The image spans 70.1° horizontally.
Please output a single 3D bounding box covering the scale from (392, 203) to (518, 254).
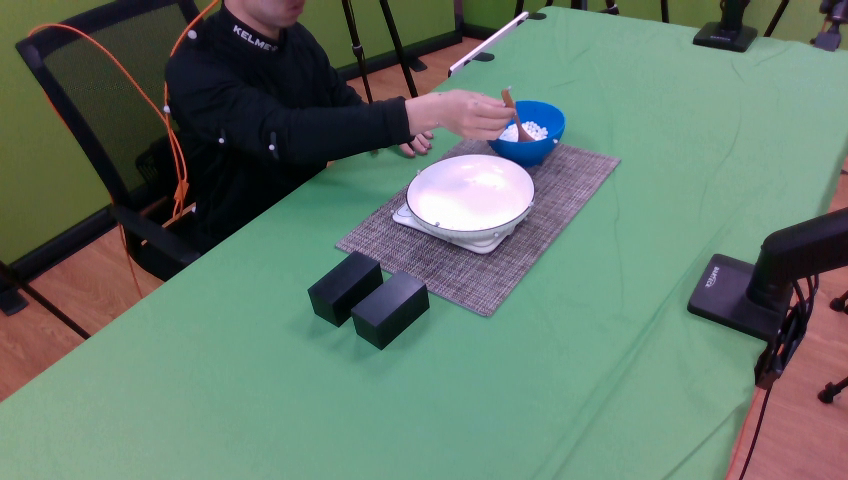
[{"bbox_3d":[0.060,-0.050,1.006,0.199,0.032,0.149,22,48,30],"label":"scale"}]

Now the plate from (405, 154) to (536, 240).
[{"bbox_3d":[0.075,-0.067,0.973,0.209,0.038,0.208,-4,41,4],"label":"plate"}]

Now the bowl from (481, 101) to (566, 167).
[{"bbox_3d":[0.183,-0.186,1.111,0.151,0.077,0.150,-4,40,4],"label":"bowl"}]

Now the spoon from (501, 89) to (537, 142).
[{"bbox_3d":[0.160,-0.198,1.028,0.041,0.195,0.021,-15,59,19],"label":"spoon"}]
